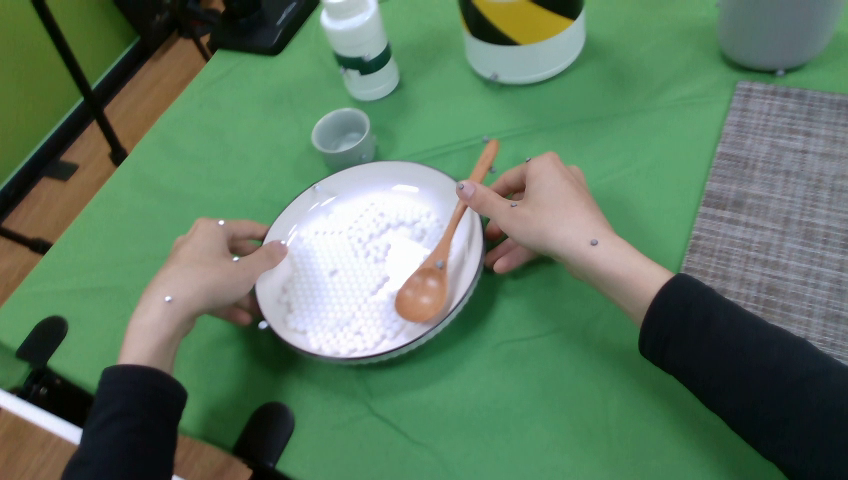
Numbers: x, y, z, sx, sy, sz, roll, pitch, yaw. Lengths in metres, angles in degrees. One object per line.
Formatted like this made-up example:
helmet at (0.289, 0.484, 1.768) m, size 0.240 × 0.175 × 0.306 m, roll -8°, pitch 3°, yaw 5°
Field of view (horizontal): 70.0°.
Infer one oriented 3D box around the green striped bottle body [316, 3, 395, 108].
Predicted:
green striped bottle body at (-0.076, -0.208, 0.659) m, size 0.063 × 0.120 × 0.062 m, roll -7°, pitch 54°, yaw 10°

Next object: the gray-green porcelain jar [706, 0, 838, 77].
gray-green porcelain jar at (0.327, -0.228, 0.567) m, size 0.106 × 0.128 × 0.105 m, roll -7°, pitch 54°, yaw 10°

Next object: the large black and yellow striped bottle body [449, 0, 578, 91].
large black and yellow striped bottle body at (0.088, -0.261, 0.614) m, size 0.130 × 0.186 × 0.129 m, roll -7°, pitch 54°, yaw 10°

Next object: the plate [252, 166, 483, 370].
plate at (-0.048, 0.022, 0.541) m, size 0.209 × 0.038 × 0.207 m, roll -7°, pitch 54°, yaw 10°

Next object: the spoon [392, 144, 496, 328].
spoon at (0.025, -0.009, 0.525) m, size 0.041 × 0.022 × 0.193 m, roll 17°, pitch 70°, yaw 24°

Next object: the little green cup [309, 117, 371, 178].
little green cup at (-0.085, -0.095, 0.633) m, size 0.061 × 0.039 × 0.061 m, roll -7°, pitch 52°, yaw 9°

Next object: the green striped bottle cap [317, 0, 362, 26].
green striped bottle cap at (-0.086, -0.238, 0.619) m, size 0.044 × 0.020 × 0.044 m, roll -5°, pitch 57°, yaw 8°
